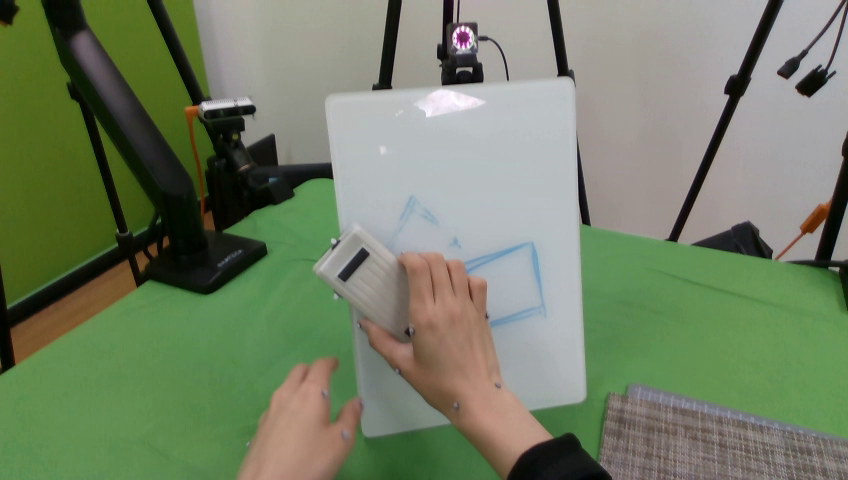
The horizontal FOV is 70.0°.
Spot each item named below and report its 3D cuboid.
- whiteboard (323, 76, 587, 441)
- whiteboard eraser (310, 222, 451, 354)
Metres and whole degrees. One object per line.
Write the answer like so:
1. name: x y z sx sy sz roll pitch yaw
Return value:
1. whiteboard: 0.026 0.009 0.600 0.217 0.306 0.143 -7 10 -9
2. whiteboard eraser: -0.035 0.040 0.505 0.055 0.113 0.041 -50 14 -5
